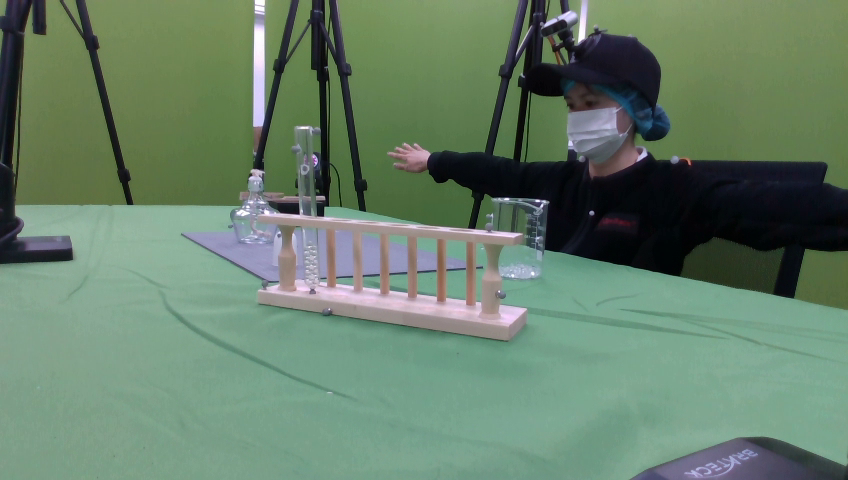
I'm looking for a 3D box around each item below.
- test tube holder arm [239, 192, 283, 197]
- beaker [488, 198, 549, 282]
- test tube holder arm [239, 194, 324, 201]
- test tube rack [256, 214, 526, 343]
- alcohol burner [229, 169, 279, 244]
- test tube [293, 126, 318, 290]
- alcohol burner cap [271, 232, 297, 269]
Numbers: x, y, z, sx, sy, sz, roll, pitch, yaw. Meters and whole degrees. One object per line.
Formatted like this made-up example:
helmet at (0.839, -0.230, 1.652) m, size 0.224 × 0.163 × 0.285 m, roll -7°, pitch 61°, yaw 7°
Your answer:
test tube holder arm at (-0.325, -0.091, 1.213) m, size 0.088 × 0.010 × 0.015 m, roll -2°, pitch 8°, yaw -36°
beaker at (0.120, -0.001, 0.768) m, size 0.074 × 0.100 × 0.083 m, roll -1°, pitch 9°, yaw -25°
test tube holder arm at (-0.289, -0.088, 1.240) m, size 0.179 × 0.013 × 0.015 m, roll -3°, pitch 9°, yaw -36°
test tube rack at (-0.032, 0.027, 0.547) m, size 0.241 × 0.085 × 0.067 m, roll 5°, pitch 8°, yaw 22°
alcohol burner at (-0.268, -0.053, 0.958) m, size 0.078 × 0.119 × 0.078 m, roll 2°, pitch 6°, yaw 0°
test tube at (-0.107, -0.027, 0.550) m, size 0.017 × 0.150 × 0.017 m, roll -1°, pitch 11°, yaw 0°
alcohol burner cap at (-0.175, 0.012, 0.760) m, size 0.034 × 0.048 × 0.034 m, roll 2°, pitch 8°, yaw 0°
